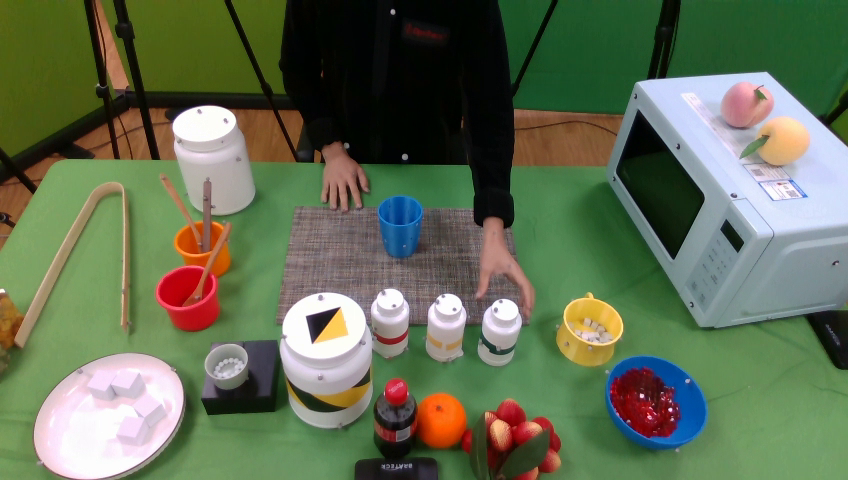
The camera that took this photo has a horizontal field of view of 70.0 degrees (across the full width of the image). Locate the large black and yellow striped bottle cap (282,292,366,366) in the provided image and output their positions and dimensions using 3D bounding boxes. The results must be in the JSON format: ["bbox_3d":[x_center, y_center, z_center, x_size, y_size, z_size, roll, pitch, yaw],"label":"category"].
[{"bbox_3d":[-0.138,0.121,0.841,0.115,0.019,0.114,3,47,-3],"label":"large black and yellow striped bottle cap"}]

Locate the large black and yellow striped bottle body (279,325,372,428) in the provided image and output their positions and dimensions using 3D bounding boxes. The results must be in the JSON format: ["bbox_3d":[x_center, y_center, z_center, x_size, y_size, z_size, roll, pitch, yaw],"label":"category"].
[{"bbox_3d":[-0.143,0.181,0.900,0.131,0.185,0.130,2,46,-2],"label":"large black and yellow striped bottle body"}]

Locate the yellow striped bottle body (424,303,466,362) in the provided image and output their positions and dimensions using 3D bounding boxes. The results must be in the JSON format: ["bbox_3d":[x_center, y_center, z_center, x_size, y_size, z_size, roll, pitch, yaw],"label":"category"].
[{"bbox_3d":[0.035,0.143,0.995,0.063,0.121,0.062,3,46,-3],"label":"yellow striped bottle body"}]

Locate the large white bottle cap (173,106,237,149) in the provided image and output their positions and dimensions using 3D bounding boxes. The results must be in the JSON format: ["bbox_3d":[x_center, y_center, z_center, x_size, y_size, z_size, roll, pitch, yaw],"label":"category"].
[{"bbox_3d":[-0.411,-0.212,1.138,0.115,0.018,0.114,2,47,-2],"label":"large white bottle cap"}]

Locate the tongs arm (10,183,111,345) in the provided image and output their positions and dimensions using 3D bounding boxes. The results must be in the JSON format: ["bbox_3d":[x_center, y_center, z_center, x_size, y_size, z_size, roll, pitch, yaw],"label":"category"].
[{"bbox_3d":[-0.658,0.027,1.109,0.028,0.028,0.385,-2,45,2],"label":"tongs arm"}]

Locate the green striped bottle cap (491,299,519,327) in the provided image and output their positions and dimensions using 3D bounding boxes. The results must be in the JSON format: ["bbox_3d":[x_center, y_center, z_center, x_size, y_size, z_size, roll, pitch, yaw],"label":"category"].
[{"bbox_3d":[0.128,0.115,0.958,0.044,0.020,0.044,1,46,-1],"label":"green striped bottle cap"}]

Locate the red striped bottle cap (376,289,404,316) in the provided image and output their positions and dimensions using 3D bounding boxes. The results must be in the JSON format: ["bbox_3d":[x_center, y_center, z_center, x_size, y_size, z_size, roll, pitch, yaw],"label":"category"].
[{"bbox_3d":[-0.055,0.098,0.958,0.044,0.018,0.044,0,48,0],"label":"red striped bottle cap"}]

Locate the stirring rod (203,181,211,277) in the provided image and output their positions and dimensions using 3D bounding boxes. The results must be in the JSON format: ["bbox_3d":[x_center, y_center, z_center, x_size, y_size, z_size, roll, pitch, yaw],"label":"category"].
[{"bbox_3d":[-0.397,-0.021,1.107,0.014,0.006,0.176,0,89,-2],"label":"stirring rod"}]

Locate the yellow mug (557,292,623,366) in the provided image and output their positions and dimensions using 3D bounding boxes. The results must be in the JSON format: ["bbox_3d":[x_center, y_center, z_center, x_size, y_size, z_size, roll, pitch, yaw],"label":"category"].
[{"bbox_3d":[0.285,0.145,1.051,0.100,0.064,0.130,7,45,4],"label":"yellow mug"}]

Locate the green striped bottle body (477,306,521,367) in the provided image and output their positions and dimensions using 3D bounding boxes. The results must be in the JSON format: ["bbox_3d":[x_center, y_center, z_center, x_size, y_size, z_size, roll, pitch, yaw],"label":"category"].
[{"bbox_3d":[0.124,0.151,0.995,0.063,0.120,0.063,2,46,-2],"label":"green striped bottle body"}]

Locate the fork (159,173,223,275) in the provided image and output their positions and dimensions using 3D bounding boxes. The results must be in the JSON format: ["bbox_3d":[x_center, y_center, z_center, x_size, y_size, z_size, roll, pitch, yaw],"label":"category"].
[{"bbox_3d":[-0.426,-0.029,1.103,0.028,0.018,0.207,-31,99,-30],"label":"fork"}]

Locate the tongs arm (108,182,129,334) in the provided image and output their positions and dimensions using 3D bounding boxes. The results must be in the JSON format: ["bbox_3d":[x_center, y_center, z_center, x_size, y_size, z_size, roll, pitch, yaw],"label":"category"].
[{"bbox_3d":[-0.571,0.019,1.123,0.051,0.026,0.382,-11,47,-11],"label":"tongs arm"}]

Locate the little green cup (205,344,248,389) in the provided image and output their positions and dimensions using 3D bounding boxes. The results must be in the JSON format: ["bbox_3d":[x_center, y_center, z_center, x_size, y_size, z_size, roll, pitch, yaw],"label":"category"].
[{"bbox_3d":[-0.294,0.191,0.909,0.061,0.039,0.061,2,47,-1],"label":"little green cup"}]

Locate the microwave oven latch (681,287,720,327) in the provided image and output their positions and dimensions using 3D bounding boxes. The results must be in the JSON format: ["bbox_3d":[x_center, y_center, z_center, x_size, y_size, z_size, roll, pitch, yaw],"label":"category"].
[{"bbox_3d":[0.494,0.119,1.087,0.030,0.029,0.078,-6,46,-9],"label":"microwave oven latch"}]

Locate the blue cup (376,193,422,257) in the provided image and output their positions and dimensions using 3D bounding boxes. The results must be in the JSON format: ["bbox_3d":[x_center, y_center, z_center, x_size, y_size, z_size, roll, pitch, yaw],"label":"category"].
[{"bbox_3d":[-0.047,-0.021,1.155,0.093,0.101,0.092,1,47,-1],"label":"blue cup"}]

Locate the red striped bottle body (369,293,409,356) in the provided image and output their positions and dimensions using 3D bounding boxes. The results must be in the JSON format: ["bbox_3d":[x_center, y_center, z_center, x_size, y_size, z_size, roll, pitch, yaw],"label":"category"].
[{"bbox_3d":[-0.059,0.134,0.997,0.063,0.120,0.062,5,47,-5],"label":"red striped bottle body"}]

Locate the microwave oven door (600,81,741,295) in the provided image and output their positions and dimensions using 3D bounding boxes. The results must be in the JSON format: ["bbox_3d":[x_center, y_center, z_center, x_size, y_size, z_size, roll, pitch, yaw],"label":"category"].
[{"bbox_3d":[0.454,-0.107,1.161,0.039,0.245,0.353,-6,47,-11],"label":"microwave oven door"}]

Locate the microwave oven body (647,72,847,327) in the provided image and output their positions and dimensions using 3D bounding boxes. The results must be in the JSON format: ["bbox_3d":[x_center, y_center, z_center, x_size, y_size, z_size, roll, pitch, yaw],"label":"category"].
[{"bbox_3d":[0.607,-0.089,1.164,0.326,0.261,0.438,-7,46,-10],"label":"microwave oven body"}]

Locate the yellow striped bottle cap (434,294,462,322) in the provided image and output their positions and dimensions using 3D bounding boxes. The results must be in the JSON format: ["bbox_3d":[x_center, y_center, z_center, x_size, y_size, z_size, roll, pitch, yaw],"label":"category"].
[{"bbox_3d":[0.038,0.107,0.958,0.044,0.019,0.044,2,45,-2],"label":"yellow striped bottle cap"}]

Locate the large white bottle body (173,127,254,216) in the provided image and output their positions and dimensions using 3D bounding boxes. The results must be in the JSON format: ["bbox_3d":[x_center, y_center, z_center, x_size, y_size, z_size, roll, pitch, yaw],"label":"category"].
[{"bbox_3d":[-0.416,-0.154,1.199,0.131,0.185,0.130,2,46,-2],"label":"large white bottle body"}]

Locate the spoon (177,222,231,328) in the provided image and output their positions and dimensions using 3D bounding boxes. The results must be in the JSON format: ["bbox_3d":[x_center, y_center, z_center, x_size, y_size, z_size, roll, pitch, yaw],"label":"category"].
[{"bbox_3d":[-0.369,0.059,1.027,0.041,0.022,0.193,25,94,19],"label":"spoon"}]

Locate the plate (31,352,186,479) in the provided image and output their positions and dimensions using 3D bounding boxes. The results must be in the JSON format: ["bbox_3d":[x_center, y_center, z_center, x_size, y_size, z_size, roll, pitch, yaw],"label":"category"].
[{"bbox_3d":[-0.459,0.262,0.898,0.209,0.038,0.208,2,46,-2],"label":"plate"}]

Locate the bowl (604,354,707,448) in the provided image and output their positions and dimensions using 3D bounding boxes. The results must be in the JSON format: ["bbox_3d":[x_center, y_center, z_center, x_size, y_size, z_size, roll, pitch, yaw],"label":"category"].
[{"bbox_3d":[0.346,0.261,0.937,0.151,0.077,0.150,2,46,-2],"label":"bowl"}]
